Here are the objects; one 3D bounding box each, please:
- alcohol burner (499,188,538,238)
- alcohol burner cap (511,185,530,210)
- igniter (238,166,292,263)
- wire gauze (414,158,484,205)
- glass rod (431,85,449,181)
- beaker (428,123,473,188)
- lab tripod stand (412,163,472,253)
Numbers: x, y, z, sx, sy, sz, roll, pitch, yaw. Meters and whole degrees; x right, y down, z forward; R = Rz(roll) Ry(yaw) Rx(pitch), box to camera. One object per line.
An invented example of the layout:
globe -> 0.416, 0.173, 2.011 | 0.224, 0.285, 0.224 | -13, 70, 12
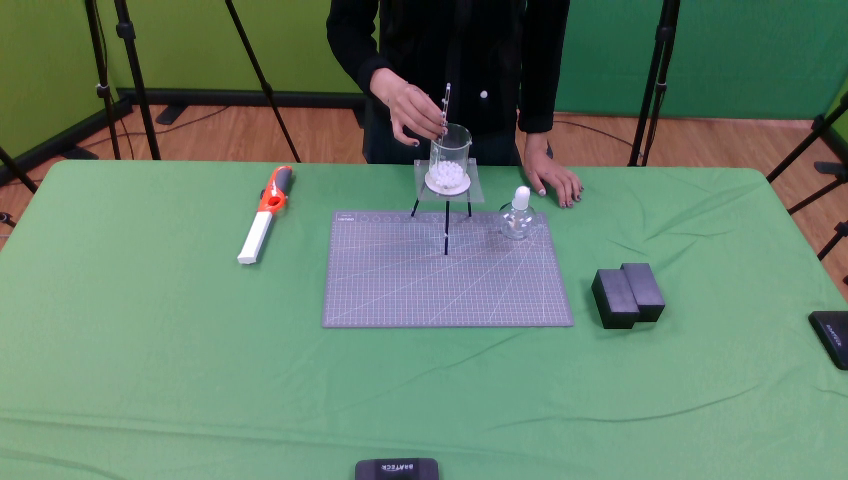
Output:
alcohol burner -> 0.189, -0.060, 1.202 | 0.078, 0.120, 0.077 | 1, 48, -1
alcohol burner cap -> 0.190, -0.085, 1.176 | 0.034, 0.048, 0.033 | 3, 50, -3
igniter -> -0.318, -0.060, 1.229 | 0.057, 0.025, 0.275 | -1, 45, 10
wire gauze -> 0.045, -0.113, 1.137 | 0.125, 0.011, 0.120 | 1, 48, -6
glass rod -> 0.027, -0.182, 1.061 | 0.008, 0.200, 0.008 | 5, 44, -5
beaker -> 0.044, -0.154, 1.109 | 0.074, 0.101, 0.083 | -25, 54, -24
lab tripod stand -> 0.043, -0.070, 1.187 | 0.148, 0.132, 0.147 | 3, 47, -3
